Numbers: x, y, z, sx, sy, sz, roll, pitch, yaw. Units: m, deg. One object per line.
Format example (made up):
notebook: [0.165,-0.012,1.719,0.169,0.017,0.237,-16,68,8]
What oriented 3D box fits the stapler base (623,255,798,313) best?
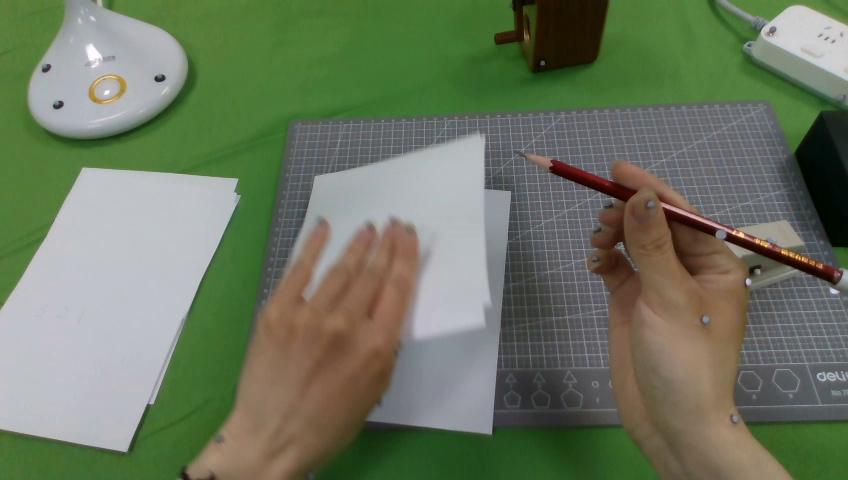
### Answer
stapler base: [0.217,0.018,0.454,0.131,0.024,0.041,-15,58,-7]

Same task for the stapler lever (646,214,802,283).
stapler lever: [0.216,0.002,0.434,0.118,0.040,0.026,-15,58,-7]

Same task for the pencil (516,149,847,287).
pencil: [0.136,-0.011,0.302,0.193,0.012,0.012,23,61,10]

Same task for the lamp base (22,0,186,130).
lamp base: [-0.336,-0.223,0.559,0.161,0.182,0.177,-28,57,-14]

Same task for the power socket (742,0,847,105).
power socket: [0.406,-0.151,0.548,0.072,0.033,0.224,-37,61,-19]

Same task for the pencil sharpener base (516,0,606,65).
pencil sharpener base: [0.125,-0.229,0.574,0.077,0.108,0.060,-11,57,-2]

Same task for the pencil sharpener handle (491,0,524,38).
pencil sharpener handle: [0.075,-0.221,0.557,0.030,0.068,0.035,-11,35,-2]
